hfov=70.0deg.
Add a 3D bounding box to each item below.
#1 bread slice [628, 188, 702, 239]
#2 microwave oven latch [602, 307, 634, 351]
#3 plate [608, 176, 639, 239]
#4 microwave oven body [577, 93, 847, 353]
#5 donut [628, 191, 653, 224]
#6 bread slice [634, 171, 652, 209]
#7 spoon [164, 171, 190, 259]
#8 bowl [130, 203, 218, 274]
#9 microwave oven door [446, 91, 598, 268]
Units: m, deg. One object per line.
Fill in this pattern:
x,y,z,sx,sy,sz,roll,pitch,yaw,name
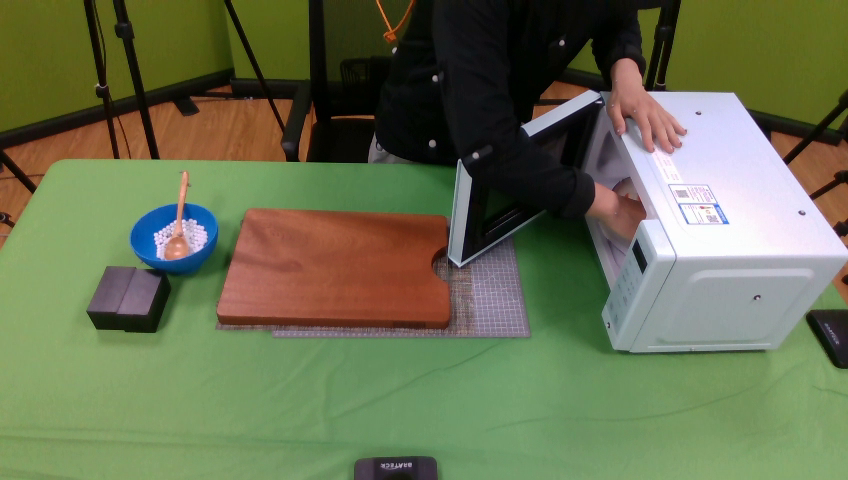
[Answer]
0.476,-0.052,1.188,0.131,0.019,0.104,20,47,14,bread slice
0.332,0.153,1.044,0.030,0.029,0.078,0,45,-4,microwave oven latch
0.465,-0.050,1.188,0.208,0.039,0.206,0,46,1,plate
0.475,-0.041,1.109,0.326,0.261,0.438,-1,45,-4,microwave oven body
0.442,-0.059,1.163,0.099,0.048,0.098,1,50,-1,donut
0.463,-0.085,1.136,0.134,0.018,0.106,10,42,-9,bread slice
-0.452,-0.046,1.129,0.041,0.022,0.193,-1,69,-3,spoon
-0.451,0.009,1.116,0.151,0.077,0.150,3,45,-3,bowl
0.191,-0.120,1.157,0.356,0.245,0.039,-31,55,-30,microwave oven door
